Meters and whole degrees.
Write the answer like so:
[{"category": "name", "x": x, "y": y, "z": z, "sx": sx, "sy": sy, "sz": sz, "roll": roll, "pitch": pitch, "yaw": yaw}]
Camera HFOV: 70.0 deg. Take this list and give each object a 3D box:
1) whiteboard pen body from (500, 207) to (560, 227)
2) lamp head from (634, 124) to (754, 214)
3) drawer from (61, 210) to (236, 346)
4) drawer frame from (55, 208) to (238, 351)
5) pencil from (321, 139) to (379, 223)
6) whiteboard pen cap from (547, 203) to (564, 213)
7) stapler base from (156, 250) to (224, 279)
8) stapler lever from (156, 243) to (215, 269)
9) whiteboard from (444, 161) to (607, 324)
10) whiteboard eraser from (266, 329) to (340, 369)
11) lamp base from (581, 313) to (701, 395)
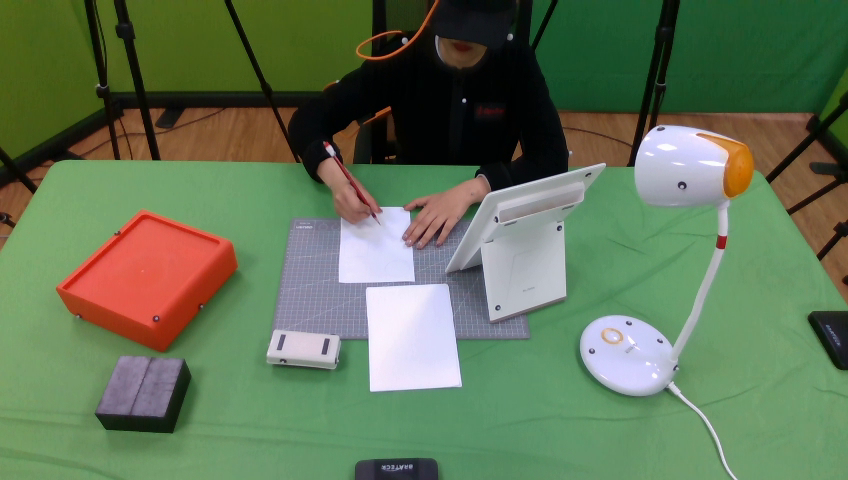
[{"category": "whiteboard pen body", "x": 0.222, "y": -0.051, "z": 1.259, "sx": 0.141, "sy": 0.017, "sz": 0.017, "roll": -15, "pitch": 49, "yaw": -16}, {"category": "lamp head", "x": 0.351, "y": -0.089, "z": 0.776, "sx": 0.112, "sy": 0.113, "sz": 0.122, "roll": -30, "pitch": 30, "yaw": -28}, {"category": "drawer", "x": -0.474, "y": 0.061, "z": 1.063, "sx": 0.194, "sy": 0.073, "sz": 0.211, "roll": 19, "pitch": 49, "yaw": 13}, {"category": "drawer frame", "x": -0.474, "y": 0.062, "z": 1.059, "sx": 0.201, "sy": 0.083, "sz": 0.213, "roll": 18, "pitch": 48, "yaw": 12}, {"category": "pencil", "x": -0.142, "y": -0.114, "z": 1.185, "sx": 0.012, "sy": 0.012, "sz": 0.194, "roll": -41, "pitch": 103, "yaw": -34}, {"category": "whiteboard pen cap", "x": 0.277, "y": -0.066, "z": 1.275, "sx": 0.033, "sy": 0.018, "sz": 0.018, "roll": -18, "pitch": 50, "yaw": -15}, {"category": "stapler base", "x": -0.431, "y": 0.040, "z": 1.111, "sx": 0.130, "sy": 0.024, "sz": 0.041, "roll": 11, "pitch": 38, "yaw": 17}, {"category": "stapler lever", "x": -0.433, "y": 0.023, "z": 1.097, "sx": 0.118, "sy": 0.040, "sz": 0.026, "roll": 14, "pitch": 39, "yaw": 14}, {"category": "whiteboard", "x": 0.186, "y": 0.025, "z": 1.029, "sx": 0.217, "sy": 0.306, "sz": 0.143, "roll": -15, "pitch": 68, "yaw": -18}, {"category": "whiteboard eraser", "x": -0.198, "y": 0.181, "z": 0.994, "sx": 0.113, "sy": 0.042, "sz": 0.055, "roll": 5, "pitch": 45, "yaw": 1}, {"category": "lamp base", "x": 0.361, "y": 0.144, "z": 0.973, "sx": 0.178, "sy": 0.181, "sz": 0.160, "roll": 34, "pitch": 53, "yaw": 23}]
